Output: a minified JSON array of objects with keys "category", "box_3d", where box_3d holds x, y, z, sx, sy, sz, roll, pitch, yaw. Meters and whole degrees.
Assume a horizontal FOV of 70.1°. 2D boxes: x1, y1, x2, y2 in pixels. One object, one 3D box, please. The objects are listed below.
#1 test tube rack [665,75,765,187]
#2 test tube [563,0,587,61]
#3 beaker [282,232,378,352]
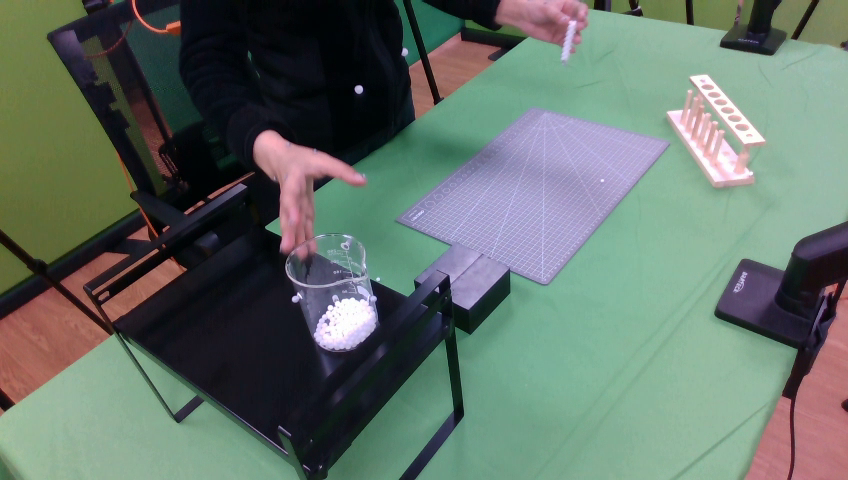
[{"category":"test tube rack","box_3d":[0.512,-0.201,1.082,0.067,0.085,0.241,-5,41,2]},{"category":"test tube","box_3d":[0.248,-0.359,0.979,0.017,0.150,0.017,3,45,-2]},{"category":"beaker","box_3d":[-0.084,0.054,0.587,0.083,0.101,0.074,17,47,25]}]
